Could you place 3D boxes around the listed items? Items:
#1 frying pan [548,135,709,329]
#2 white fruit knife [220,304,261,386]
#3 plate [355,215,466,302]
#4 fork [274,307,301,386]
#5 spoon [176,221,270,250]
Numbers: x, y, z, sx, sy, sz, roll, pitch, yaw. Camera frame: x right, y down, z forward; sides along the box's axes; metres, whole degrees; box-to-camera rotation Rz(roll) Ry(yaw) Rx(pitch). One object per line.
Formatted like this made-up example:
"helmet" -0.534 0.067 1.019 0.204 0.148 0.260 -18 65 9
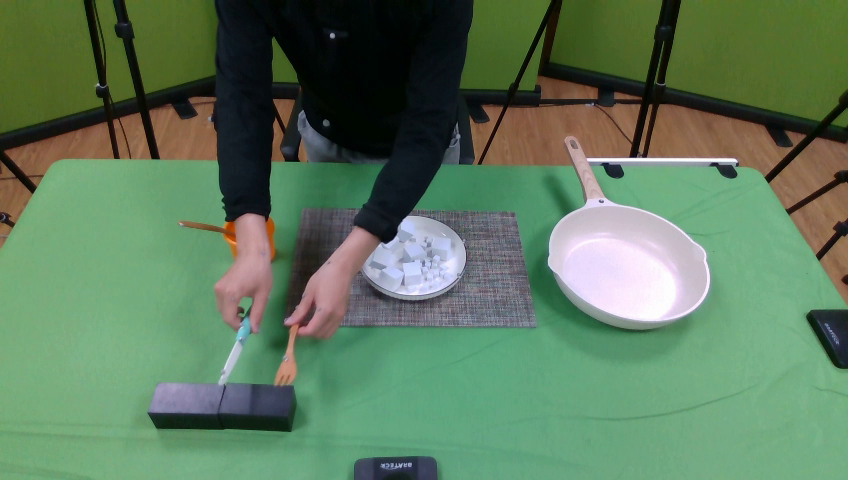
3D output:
"frying pan" 0.360 -0.033 1.200 0.307 0.103 0.484 -4 55 -9
"white fruit knife" -0.274 0.151 0.909 0.016 0.027 0.206 -7 25 2
"plate" -0.025 0.038 1.144 0.208 0.039 0.206 2 46 -2
"fork" -0.204 0.158 0.927 0.028 0.019 0.206 12 27 -11
"spoon" -0.358 -0.011 1.093 0.021 0.195 0.041 -53 53 10
